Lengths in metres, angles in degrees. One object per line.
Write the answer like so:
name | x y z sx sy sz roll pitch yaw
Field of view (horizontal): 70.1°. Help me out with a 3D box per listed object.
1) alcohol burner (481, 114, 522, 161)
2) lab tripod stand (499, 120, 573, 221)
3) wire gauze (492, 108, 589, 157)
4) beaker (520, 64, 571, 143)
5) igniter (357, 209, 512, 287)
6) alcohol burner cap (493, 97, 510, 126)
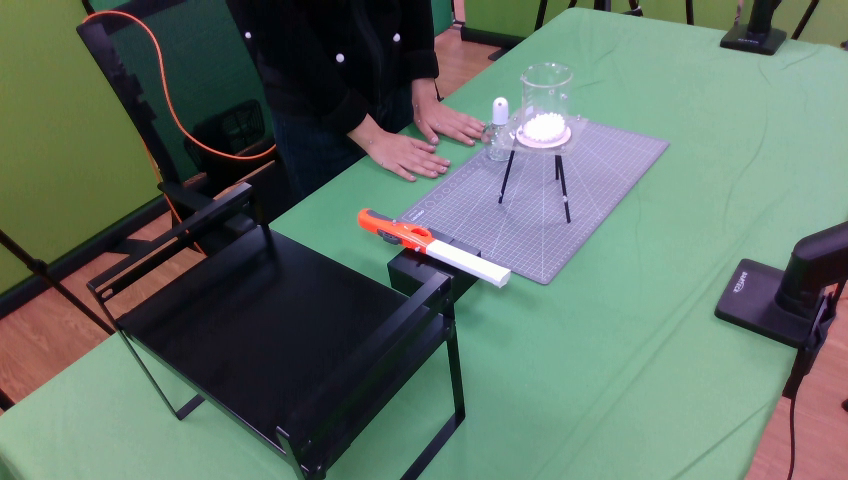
alcohol burner | 0.143 -0.208 1.124 0.078 0.119 0.077 -6 39 6
lab tripod stand | 0.198 -0.117 0.992 0.148 0.132 0.147 -3 40 3
wire gauze | 0.185 -0.169 0.954 0.121 0.011 0.125 13 46 22
beaker | 0.187 -0.208 0.924 0.073 0.101 0.084 23 49 30
igniter | 0.004 0.006 0.891 0.274 0.025 0.057 23 38 30
alcohol burner cap | 0.141 -0.236 1.102 0.034 0.048 0.033 -4 39 4
